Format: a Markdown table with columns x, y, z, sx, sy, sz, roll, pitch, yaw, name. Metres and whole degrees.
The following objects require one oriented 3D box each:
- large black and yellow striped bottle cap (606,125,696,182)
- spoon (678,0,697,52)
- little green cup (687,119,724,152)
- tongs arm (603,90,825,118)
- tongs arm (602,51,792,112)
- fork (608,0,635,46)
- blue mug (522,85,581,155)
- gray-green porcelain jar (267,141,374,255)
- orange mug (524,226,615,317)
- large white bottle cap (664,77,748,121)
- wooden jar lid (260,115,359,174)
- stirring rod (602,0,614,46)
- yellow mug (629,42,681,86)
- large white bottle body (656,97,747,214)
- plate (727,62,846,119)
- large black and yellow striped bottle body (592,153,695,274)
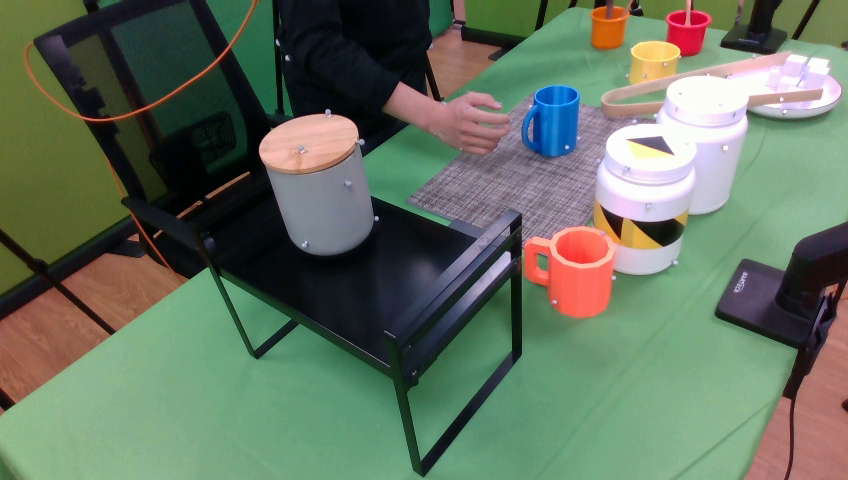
| x | y | z | sx | sy | sz | roll | pitch | yaw | name |
| --- | --- | --- | --- | --- | --- | --- | --- | --- | --- |
| 0.305 | -0.119 | 0.816 | 0.115 | 0.019 | 0.114 | -5 | 41 | 5 | large black and yellow striped bottle cap |
| 0.614 | -0.526 | 1.402 | 0.041 | 0.022 | 0.193 | 3 | 86 | 11 | spoon |
| 0.514 | -0.191 | 1.109 | 0.061 | 0.039 | 0.061 | -5 | 40 | 5 | little green cup |
| 0.546 | -0.262 | 1.163 | 0.386 | 0.028 | 0.028 | -1 | 49 | 18 | tongs arm |
| 0.552 | -0.320 | 1.224 | 0.384 | 0.027 | 0.050 | -10 | 43 | 7 | tongs arm |
| 0.488 | -0.556 | 1.427 | 0.028 | 0.207 | 0.019 | 41 | 26 | 25 | fork |
| 0.233 | -0.218 | 1.127 | 0.117 | 0.106 | 0.081 | -23 | 43 | -16 | blue mug |
| -0.117 | -0.054 | 0.703 | 0.106 | 0.127 | 0.105 | -4 | 40 | 4 | gray-green porcelain jar |
| 0.201 | 0.039 | 0.845 | 0.125 | 0.101 | 0.083 | 18 | 46 | 21 | orange mug |
| 0.421 | -0.212 | 0.905 | 0.115 | 0.018 | 0.114 | -4 | 40 | 4 | large white bottle cap |
| -0.124 | -0.101 | 0.662 | 0.108 | 0.021 | 0.108 | -4 | 41 | 4 | wooden jar lid |
| 0.450 | -0.554 | 1.464 | 0.014 | 0.006 | 0.176 | 8 | 85 | 17 | stirring rod |
| 0.495 | -0.389 | 1.322 | 0.100 | 0.064 | 0.130 | -14 | 40 | -6 | yellow mug |
| 0.431 | -0.148 | 0.959 | 0.130 | 0.185 | 0.130 | -4 | 41 | 4 | large white bottle body |
| 0.709 | -0.292 | 1.197 | 0.207 | 0.039 | 0.206 | -4 | 40 | 4 | plate |
| 0.313 | -0.056 | 0.872 | 0.131 | 0.185 | 0.130 | -4 | 41 | 4 | large black and yellow striped bottle body |
